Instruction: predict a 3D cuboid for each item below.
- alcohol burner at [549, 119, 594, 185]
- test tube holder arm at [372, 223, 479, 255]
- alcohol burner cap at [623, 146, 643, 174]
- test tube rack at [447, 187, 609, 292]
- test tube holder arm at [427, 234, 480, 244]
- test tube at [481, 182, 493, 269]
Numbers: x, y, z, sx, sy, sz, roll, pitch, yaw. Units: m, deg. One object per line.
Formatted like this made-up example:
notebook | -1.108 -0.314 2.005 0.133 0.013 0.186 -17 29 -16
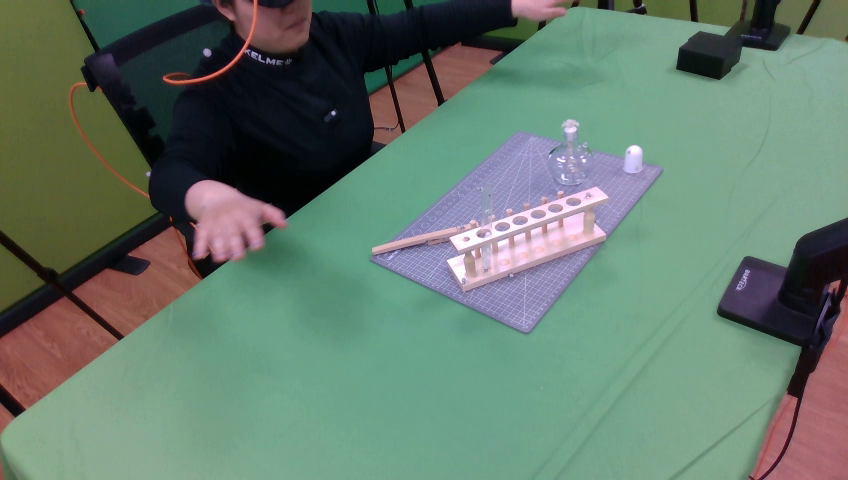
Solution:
alcohol burner | 0.254 -0.155 1.043 0.078 0.120 0.077 -7 40 6
test tube holder arm | 0.003 -0.002 0.980 0.178 0.013 0.015 -12 34 -2
alcohol burner cap | 0.369 -0.143 1.061 0.034 0.048 0.033 -6 41 6
test tube rack | 0.154 -0.011 0.913 0.243 0.085 0.066 -19 41 -11
test tube holder arm | 0.048 -0.006 0.986 0.088 0.010 0.015 -7 35 -5
test tube | 0.089 -0.016 0.854 0.017 0.151 0.017 -2 39 2
